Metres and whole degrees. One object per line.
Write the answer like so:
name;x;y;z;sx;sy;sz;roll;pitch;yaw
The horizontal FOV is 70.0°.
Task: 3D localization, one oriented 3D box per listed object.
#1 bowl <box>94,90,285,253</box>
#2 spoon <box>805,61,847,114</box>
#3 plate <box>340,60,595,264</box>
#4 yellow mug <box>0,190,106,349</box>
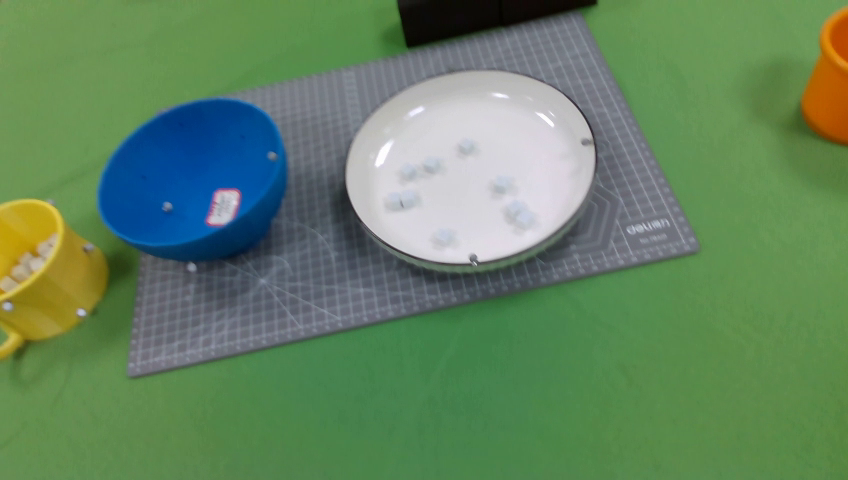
bowl;-0.179;-0.044;0.504;0.151;0.077;0.150;-5;57;7
spoon;0.380;-0.159;0.444;0.022;0.194;0.041;12;52;-37
plate;0.035;-0.065;0.505;0.209;0.038;0.207;-4;57;6
yellow mug;-0.333;0.030;0.493;0.099;0.064;0.130;8;60;14
